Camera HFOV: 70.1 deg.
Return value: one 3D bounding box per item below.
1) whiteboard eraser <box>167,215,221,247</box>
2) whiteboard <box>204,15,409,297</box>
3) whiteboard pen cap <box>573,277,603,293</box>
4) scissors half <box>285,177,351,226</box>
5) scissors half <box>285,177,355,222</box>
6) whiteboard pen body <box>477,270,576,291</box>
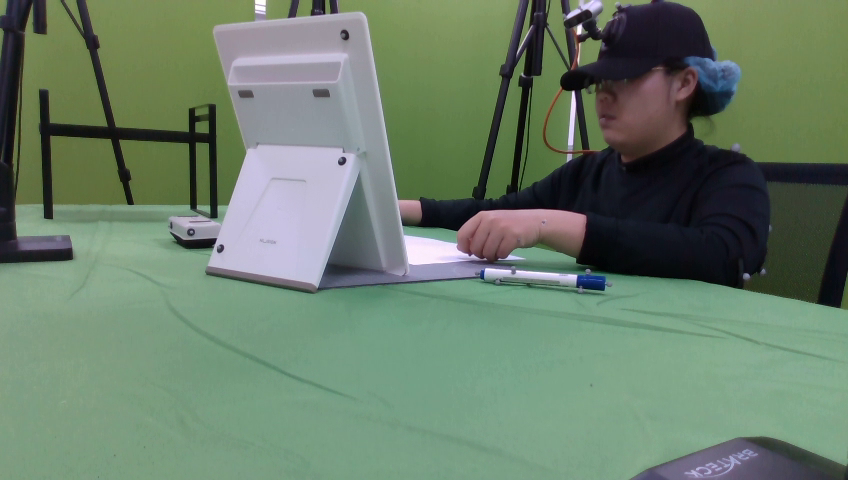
[{"bbox_3d":[-0.350,-0.014,0.920,0.056,0.042,0.112,0,7,-35],"label":"whiteboard eraser"},{"bbox_3d":[-0.166,-0.072,0.669,0.216,0.305,0.144,8,30,30],"label":"whiteboard"},{"bbox_3d":[0.186,0.051,0.687,0.033,0.018,0.018,4,8,17],"label":"whiteboard pen cap"},{"bbox_3d":[-0.232,-0.085,1.317,0.175,0.013,0.040,37,19,4],"label":"scissors half"},{"bbox_3d":[-0.229,-0.091,1.336,0.176,0.013,0.040,32,14,-15],"label":"scissors half"},{"bbox_3d":[0.131,0.048,0.707,0.140,0.017,0.017,4,8,17],"label":"whiteboard pen body"}]
